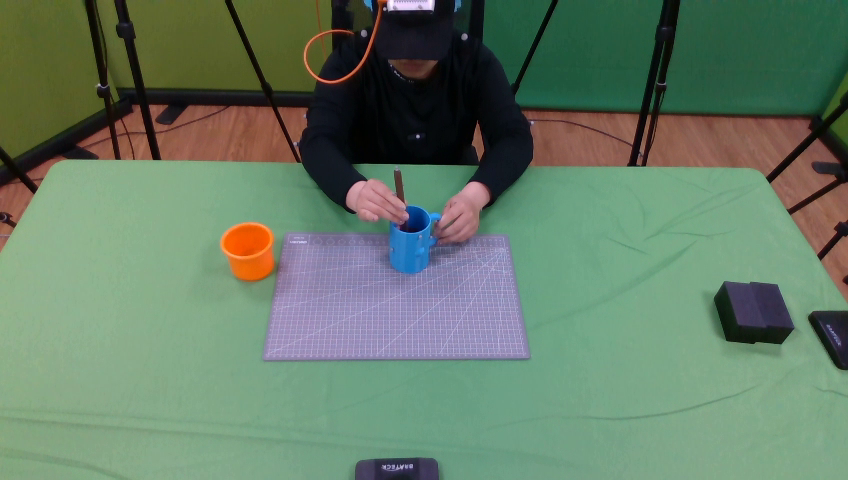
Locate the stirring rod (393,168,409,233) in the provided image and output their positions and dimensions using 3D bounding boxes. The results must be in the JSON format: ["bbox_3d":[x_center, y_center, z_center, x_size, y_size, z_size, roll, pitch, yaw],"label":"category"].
[{"bbox_3d":[-0.038,-0.049,1.072,0.014,0.177,0.006,11,40,21],"label":"stirring rod"}]

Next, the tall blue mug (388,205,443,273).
[{"bbox_3d":[-0.020,-0.010,1.144,0.077,0.108,0.107,23,49,18],"label":"tall blue mug"}]
